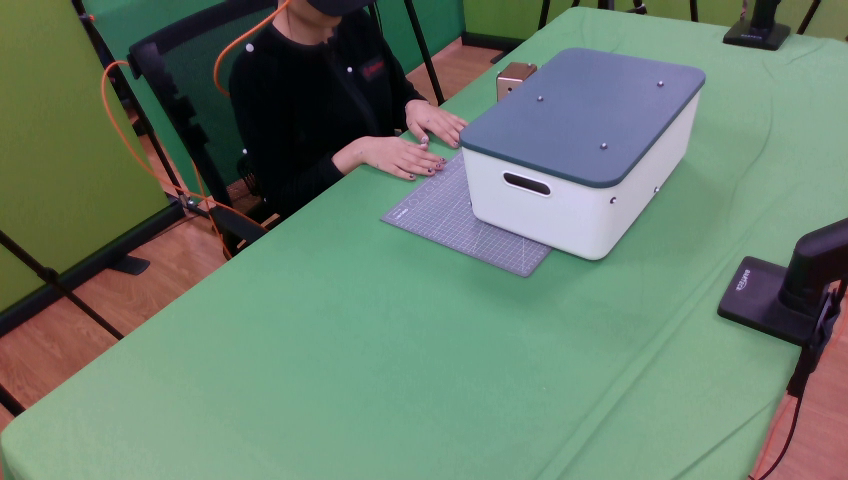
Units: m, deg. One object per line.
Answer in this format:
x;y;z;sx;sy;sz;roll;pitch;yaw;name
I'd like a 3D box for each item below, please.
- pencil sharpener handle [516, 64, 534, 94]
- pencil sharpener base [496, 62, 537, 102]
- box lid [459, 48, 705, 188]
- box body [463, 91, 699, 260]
0.214;-0.337;1.249;0.036;0.068;0.031;12;44;28;pencil sharpener handle
0.190;-0.296;1.225;0.061;0.107;0.077;14;45;27;pencil sharpener base
0.256;-0.210;0.953;0.261;0.015;0.372;23;49;31;box lid
0.264;-0.153;1.000;0.252;0.161;0.365;22;49;32;box body
